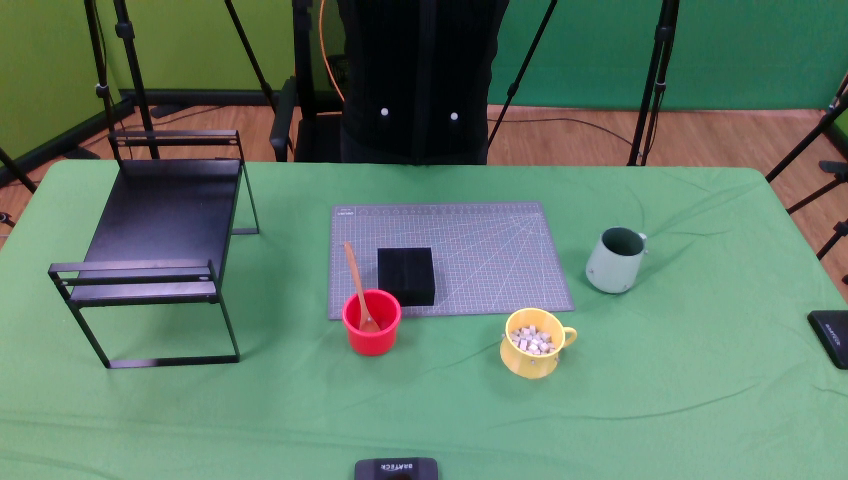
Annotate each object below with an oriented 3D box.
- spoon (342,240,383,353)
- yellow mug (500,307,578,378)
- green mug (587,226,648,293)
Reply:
[{"bbox_3d":[-0.106,0.094,1.014,0.041,0.021,0.193,-14,94,-10],"label":"spoon"},{"bbox_3d":[0.197,0.169,1.018,0.131,0.064,0.099,-7,47,-12],"label":"yellow mug"},{"bbox_3d":[0.371,0.030,1.136,0.125,0.105,0.092,-27,53,-27],"label":"green mug"}]
